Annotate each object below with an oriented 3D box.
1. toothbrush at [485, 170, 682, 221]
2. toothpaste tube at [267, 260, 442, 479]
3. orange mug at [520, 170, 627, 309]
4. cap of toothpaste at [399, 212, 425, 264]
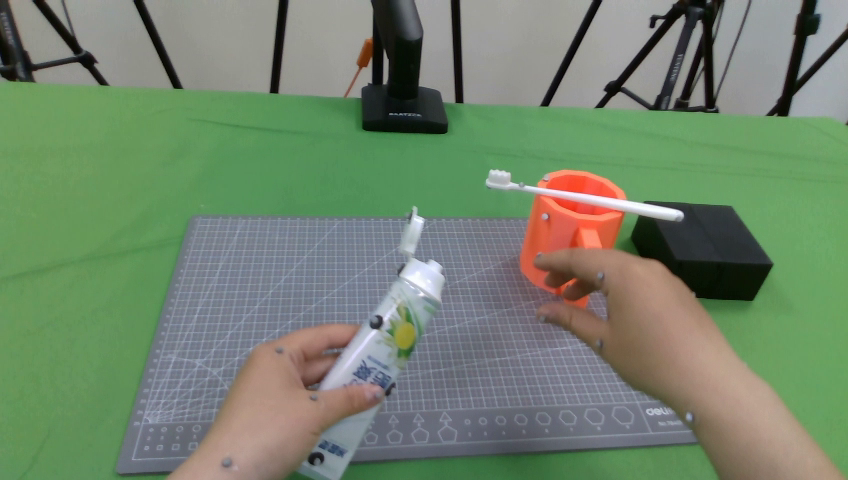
[{"bbox_3d":[0.147,-0.041,0.561,0.181,0.017,0.014,12,31,6],"label":"toothbrush"},{"bbox_3d":[-0.038,0.083,0.410,0.055,0.165,0.034,35,-7,-19],"label":"toothpaste tube"},{"bbox_3d":[0.146,0.003,0.590,0.083,0.101,0.125,5,35,-2],"label":"orange mug"},{"bbox_3d":[-0.007,-0.002,0.421,0.011,0.037,0.037,18,39,2],"label":"cap of toothpaste"}]
